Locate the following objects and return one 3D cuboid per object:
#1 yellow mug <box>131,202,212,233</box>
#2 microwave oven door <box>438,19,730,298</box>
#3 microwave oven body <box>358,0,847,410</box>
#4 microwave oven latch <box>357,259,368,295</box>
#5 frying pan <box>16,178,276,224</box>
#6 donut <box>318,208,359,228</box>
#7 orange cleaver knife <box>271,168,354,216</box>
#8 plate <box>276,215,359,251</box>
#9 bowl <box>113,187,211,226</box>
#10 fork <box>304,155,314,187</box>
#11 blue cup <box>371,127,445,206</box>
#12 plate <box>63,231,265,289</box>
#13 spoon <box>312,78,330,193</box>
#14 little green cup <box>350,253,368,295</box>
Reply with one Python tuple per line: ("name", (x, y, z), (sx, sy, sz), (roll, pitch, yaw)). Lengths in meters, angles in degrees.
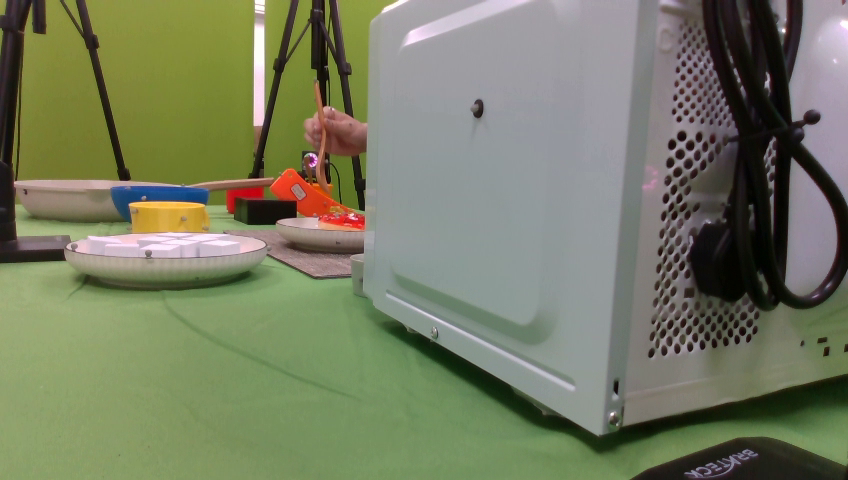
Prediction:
("yellow mug", (-0.356, -0.020, 0.878), (0.099, 0.064, 0.131), (5, 7, 21))
("microwave oven door", (0.181, -0.076, 0.618), (0.358, 0.243, 0.039), (-2, 8, -28))
("microwave oven body", (0.210, -0.051, 0.471), (0.444, 0.260, 0.324), (-1, 7, -28))
("microwave oven latch", (-0.019, 0.031, 0.529), (0.079, 0.029, 0.030), (-1, 7, -26))
("frying pan", (-0.554, -0.097, 1.266), (0.490, 0.102, 0.305), (-10, 13, -24))
("donut", (-0.118, -0.024, 0.954), (0.099, 0.048, 0.099), (6, 7, 0))
("orange cleaver knife", (-0.236, -0.084, 1.332), (0.212, 0.077, 0.012), (31, -9, -31))
("plate", (-0.126, -0.012, 0.950), (0.209, 0.038, 0.209), (2, 7, 0))
("bowl", (-0.437, -0.046, 1.013), (0.151, 0.077, 0.151), (2, 7, 0))
("fork", (-0.268, -0.134, 1.446), (0.028, 0.018, 0.207), (1, -36, -1))
("blue cup", (-0.021, -0.110, 0.973), (0.092, 0.100, 0.092), (-41, -4, -3))
("plate", (-0.288, 0.021, 0.687), (0.208, 0.039, 0.207), (2, 8, 0))
("spoon", (-0.169, -0.172, 0.991), (0.021, 0.193, 0.041), (-4, -7, 6))
("little green cup", (-0.048, 0.035, 0.632), (0.061, 0.038, 0.061), (3, 6, 0))
